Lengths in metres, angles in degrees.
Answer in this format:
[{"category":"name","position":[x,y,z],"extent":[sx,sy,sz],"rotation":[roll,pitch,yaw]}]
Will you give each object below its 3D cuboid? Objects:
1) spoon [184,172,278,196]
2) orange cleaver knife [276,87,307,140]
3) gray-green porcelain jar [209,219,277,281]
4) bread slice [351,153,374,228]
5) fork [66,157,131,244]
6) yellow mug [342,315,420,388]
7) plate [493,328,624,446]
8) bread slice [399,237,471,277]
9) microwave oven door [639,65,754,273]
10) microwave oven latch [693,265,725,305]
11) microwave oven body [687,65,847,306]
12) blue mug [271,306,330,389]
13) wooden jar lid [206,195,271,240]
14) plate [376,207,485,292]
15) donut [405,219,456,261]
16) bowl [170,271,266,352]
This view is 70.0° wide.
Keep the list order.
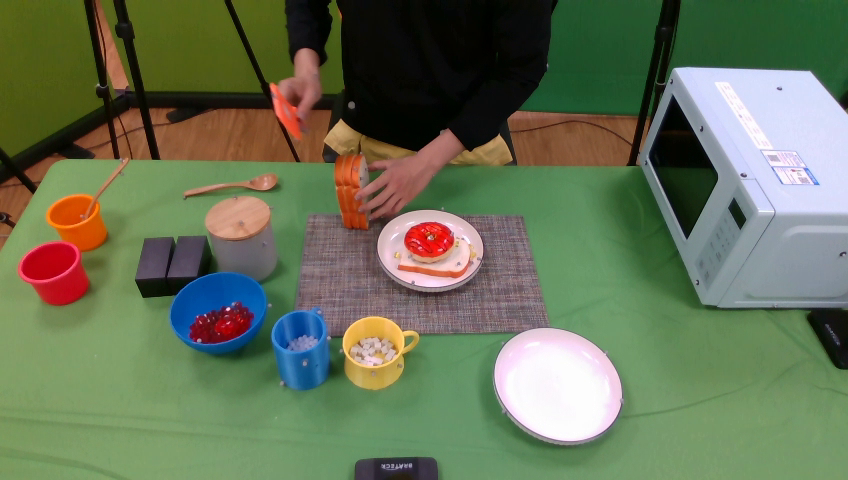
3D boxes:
[{"category":"spoon","position":[-0.405,-0.116,1.275],"extent":[0.194,0.022,0.041],"rotation":[-8,66,-12]},{"category":"orange cleaver knife","position":[-0.226,-0.214,1.063],"extent":[0.012,0.211,0.077],"rotation":[-16,92,1]},{"category":"gray-green porcelain jar","position":[-0.323,0.007,1.092],"extent":[0.106,0.127,0.105],"rotation":[2,46,-2]},{"category":"bread slice","position":[-0.123,-0.104,1.207],"extent":[0.018,0.135,0.106],"rotation":[-2,47,6]},{"category":"fork","position":[-0.608,-0.074,1.132],"extent":[0.207,0.019,0.028],"rotation":[-52,48,10]},{"category":"yellow mug","position":[-0.068,0.177,0.990],"extent":[0.131,0.064,0.099],"rotation":[-15,50,-19]},{"category":"plate","position":[0.213,0.236,0.974],"extent":[0.208,0.039,0.206],"rotation":[2,46,-2]},{"category":"bread slice","position":[0.025,0.025,1.161],"extent":[0.131,0.019,0.104],"rotation":[7,47,8]},{"category":"microwave oven door","position":[0.522,-0.147,1.193],"extent":[0.039,0.245,0.353],"rotation":[0,47,-3]},{"category":"microwave oven latch","position":[0.522,0.081,1.115],"extent":[0.030,0.029,0.078],"rotation":[2,46,-1]},{"category":"microwave oven body","position":[0.669,-0.111,1.176],"extent":[0.326,0.261,0.439],"rotation":[0,46,-3]},{"category":"blue mug","position":[-0.188,0.163,0.969],"extent":[0.082,0.106,0.116],"rotation":[15,47,10]},{"category":"wooden jar lid","position":[-0.319,-0.036,1.046],"extent":[0.108,0.021,0.107],"rotation":[1,44,0]},{"category":"plate","position":[0.012,0.021,1.159],"extent":[0.209,0.038,0.208],"rotation":[2,47,-2]},{"category":"donut","position":[0.012,-0.001,1.140],"extent":[0.099,0.048,0.098],"rotation":[0,44,0]},{"category":"bowl","position":[-0.333,0.132,1.006],"extent":[0.151,0.077,0.150],"rotation":[2,46,-2]}]
